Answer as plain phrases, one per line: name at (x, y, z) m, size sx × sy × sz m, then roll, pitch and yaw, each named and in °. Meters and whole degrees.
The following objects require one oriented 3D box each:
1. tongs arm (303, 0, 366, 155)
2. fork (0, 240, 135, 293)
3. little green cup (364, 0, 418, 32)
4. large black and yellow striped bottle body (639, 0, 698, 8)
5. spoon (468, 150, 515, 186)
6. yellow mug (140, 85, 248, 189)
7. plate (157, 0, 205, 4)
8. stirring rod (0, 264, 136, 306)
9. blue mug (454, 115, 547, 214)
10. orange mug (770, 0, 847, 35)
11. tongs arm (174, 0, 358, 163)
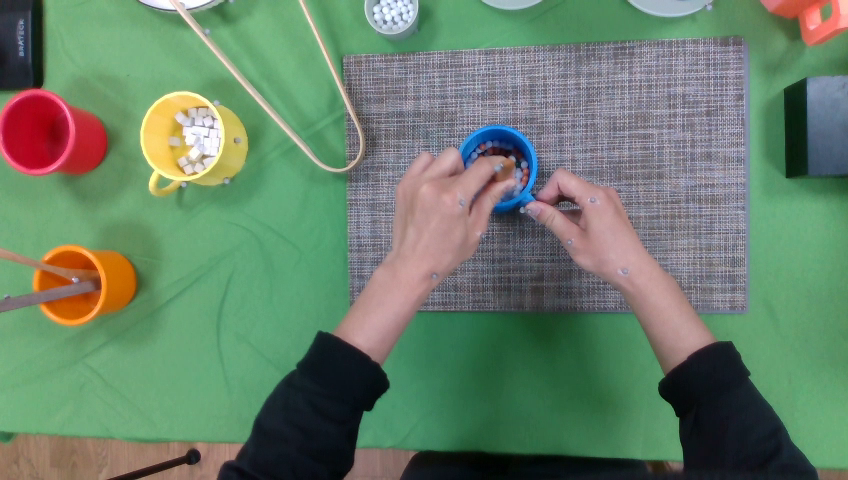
tongs arm at (-0.149, -0.279, 0.684) m, size 0.028 × 0.027 × 0.388 m, roll -25°, pitch 96°, yaw -2°
fork at (-0.435, 0.019, 0.687) m, size 0.209 × 0.018 × 0.028 m, roll 27°, pitch 90°, yaw -38°
little green cup at (-0.035, -0.268, 0.689) m, size 0.061 × 0.038 × 0.061 m, roll 0°, pitch 93°, yaw 6°
large black and yellow striped bottle body at (0.260, -0.318, 0.582) m, size 0.130 × 0.184 × 0.130 m, roll 0°, pitch 91°, yaw 7°
spoon at (0.069, -0.066, 0.576) m, size 0.041 × 0.193 × 0.021 m, roll -11°, pitch 93°, yaw -1°
yellow mug at (-0.276, -0.112, 0.707) m, size 0.100 × 0.064 × 0.131 m, roll 38°, pitch 97°, yaw 3°
plate at (-0.282, -0.379, 0.712) m, size 0.207 × 0.039 × 0.207 m, roll 0°, pitch 93°, yaw 6°
stirring rod at (-0.425, 0.054, 0.693) m, size 0.177 × 0.006 × 0.014 m, roll -16°, pitch 84°, yaw -35°
blue mug at (0.088, -0.070, 0.645) m, size 0.082 × 0.106 × 0.116 m, roll -45°, pitch 87°, yaw 6°
orange mug at (0.401, -0.277, 0.611) m, size 0.083 × 0.101 × 0.126 m, roll -10°, pitch 86°, yaw 7°
tongs arm at (-0.219, -0.232, 0.691) m, size 0.051 × 0.026 × 0.385 m, roll -39°, pitch 95°, yaw 3°
